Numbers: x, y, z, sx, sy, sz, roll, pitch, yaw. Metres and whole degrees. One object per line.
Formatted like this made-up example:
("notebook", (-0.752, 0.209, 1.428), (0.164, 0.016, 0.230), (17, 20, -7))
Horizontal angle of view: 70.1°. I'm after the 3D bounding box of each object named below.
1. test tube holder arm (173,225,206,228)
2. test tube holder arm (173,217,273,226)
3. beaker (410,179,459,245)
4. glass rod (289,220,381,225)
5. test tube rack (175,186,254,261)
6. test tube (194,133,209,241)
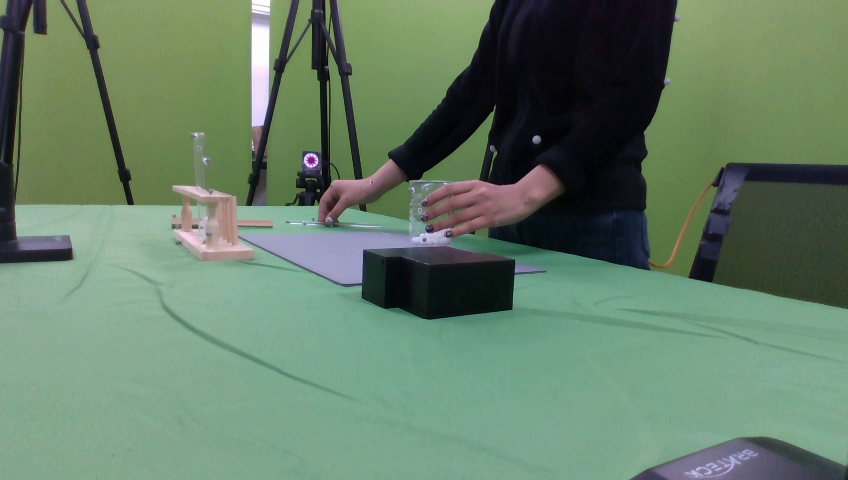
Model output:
("test tube holder arm", (-0.415, -0.030, 1.113), (0.088, 0.015, 0.010), (-1, -22, -25))
("test tube holder arm", (-0.371, -0.033, 1.128), (0.179, 0.015, 0.013), (-1, -22, -25))
("beaker", (0.013, -0.044, 0.935), (0.074, 0.100, 0.083), (-1, 5, -22))
("glass rod", (-0.179, -0.037, 1.243), (0.201, 0.008, 0.008), (0, 7, -28))
("test tube rack", (-0.314, -0.031, 0.889), (0.067, 0.085, 0.241), (-2, 8, -30))
("test tube", (-0.307, -0.074, 0.842), (0.017, 0.150, 0.017), (-3, 2, 0))
